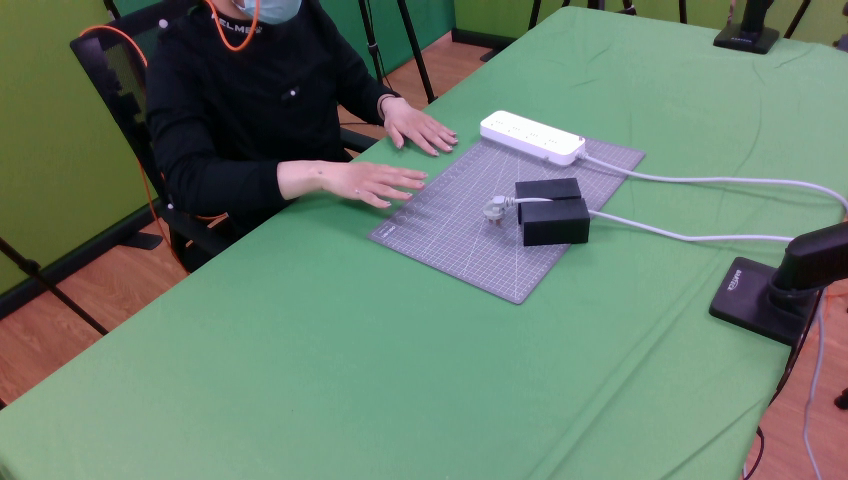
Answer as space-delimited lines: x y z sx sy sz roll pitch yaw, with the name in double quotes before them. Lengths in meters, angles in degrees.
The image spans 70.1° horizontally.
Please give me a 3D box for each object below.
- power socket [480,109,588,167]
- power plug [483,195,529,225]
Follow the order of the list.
"power socket" 0.203 -0.198 1.157 0.225 0.033 0.072 29 54 34
"power plug" 0.129 -0.044 0.969 0.072 0.053 0.035 14 49 26
